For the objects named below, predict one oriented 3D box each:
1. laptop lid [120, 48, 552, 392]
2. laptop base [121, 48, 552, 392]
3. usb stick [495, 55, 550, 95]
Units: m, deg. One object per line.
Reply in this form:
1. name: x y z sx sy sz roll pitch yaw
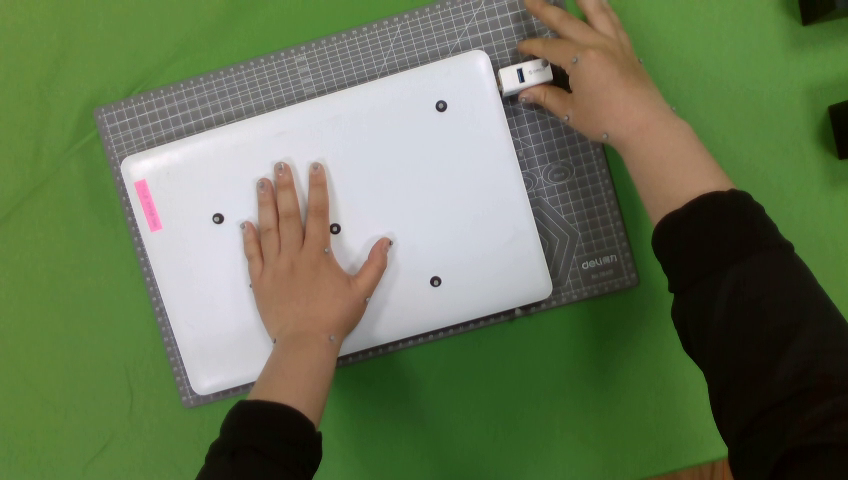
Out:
1. laptop lid: -0.081 -0.012 0.556 0.356 0.013 0.242 -15 96 4
2. laptop base: -0.081 -0.014 0.565 0.354 0.023 0.236 -17 97 4
3. usb stick: 0.080 -0.144 0.537 0.059 0.027 0.021 -13 88 6
